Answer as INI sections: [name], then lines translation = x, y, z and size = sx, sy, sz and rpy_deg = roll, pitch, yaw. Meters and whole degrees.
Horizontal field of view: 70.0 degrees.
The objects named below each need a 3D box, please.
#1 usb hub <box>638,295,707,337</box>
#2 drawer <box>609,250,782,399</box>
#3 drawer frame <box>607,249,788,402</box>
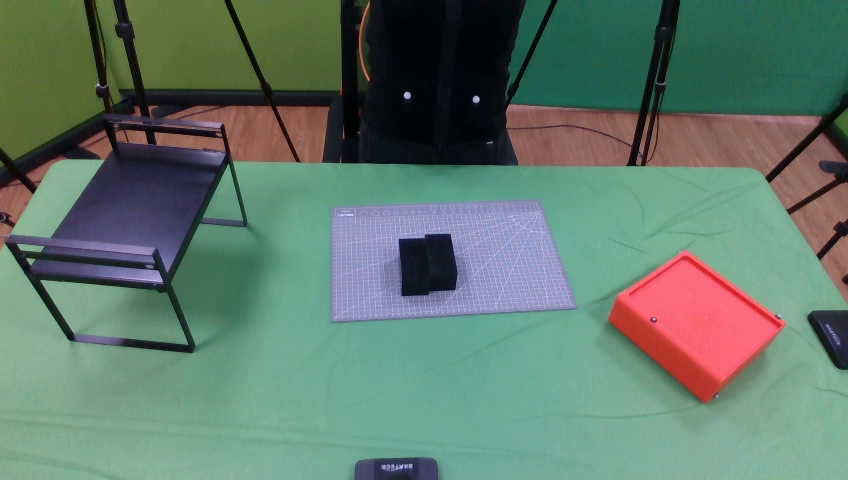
[usb hub]
translation = 0.440, 0.134, 1.072
size = 0.125, 0.025, 0.049
rpy_deg = -15, 35, -28
[drawer]
translation = 0.469, 0.140, 1.057
size = 0.194, 0.073, 0.210
rpy_deg = -28, 55, -27
[drawer frame]
translation = 0.470, 0.139, 1.053
size = 0.202, 0.083, 0.212
rpy_deg = -28, 55, -28
